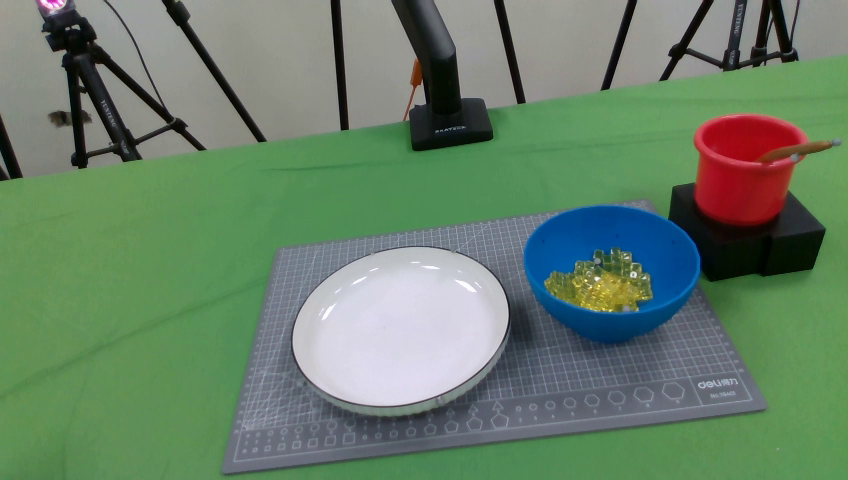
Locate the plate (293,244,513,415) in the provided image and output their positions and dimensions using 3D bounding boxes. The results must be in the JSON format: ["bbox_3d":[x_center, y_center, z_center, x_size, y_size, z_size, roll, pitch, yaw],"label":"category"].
[{"bbox_3d":[-0.019,0.083,0.579,0.207,0.039,0.205,-6,39,5],"label":"plate"}]

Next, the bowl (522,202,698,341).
[{"bbox_3d":[0.167,0.039,0.559,0.151,0.077,0.150,-6,39,5],"label":"bowl"}]

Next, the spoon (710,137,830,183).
[{"bbox_3d":[0.302,-0.071,0.538,0.041,0.021,0.194,-2,-5,7],"label":"spoon"}]
